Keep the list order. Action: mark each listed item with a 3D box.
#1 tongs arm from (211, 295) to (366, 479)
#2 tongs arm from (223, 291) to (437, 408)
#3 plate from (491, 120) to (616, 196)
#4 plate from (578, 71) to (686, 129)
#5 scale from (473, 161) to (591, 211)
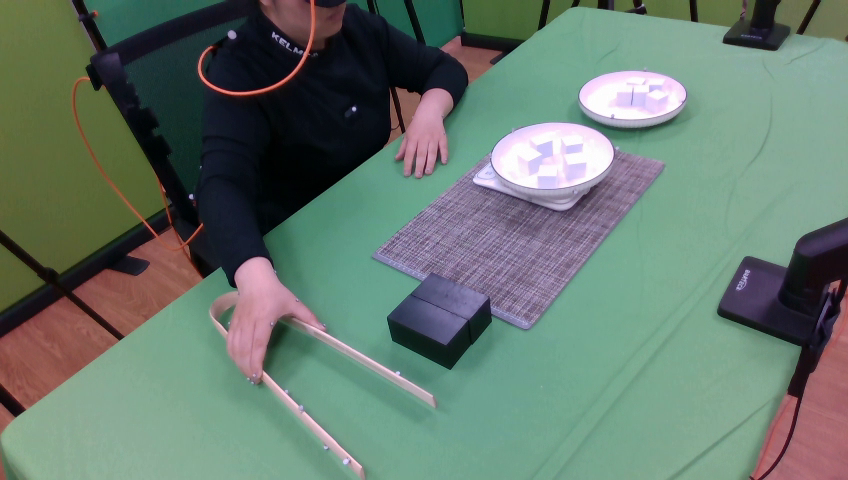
[{"bbox_3d":[-0.186,0.177,0.795,0.381,0.026,0.051,28,53,37],"label":"tongs arm"},{"bbox_3d":[-0.141,0.142,0.830,0.384,0.028,0.028,20,52,31],"label":"tongs arm"},{"bbox_3d":[0.221,-0.137,1.038,0.207,0.039,0.206,-6,41,5],"label":"plate"},{"bbox_3d":[0.416,-0.280,1.222,0.209,0.038,0.208,-5,41,5],"label":"plate"},{"bbox_3d":[0.202,-0.121,1.074,0.199,0.032,0.149,23,49,33],"label":"scale"}]
